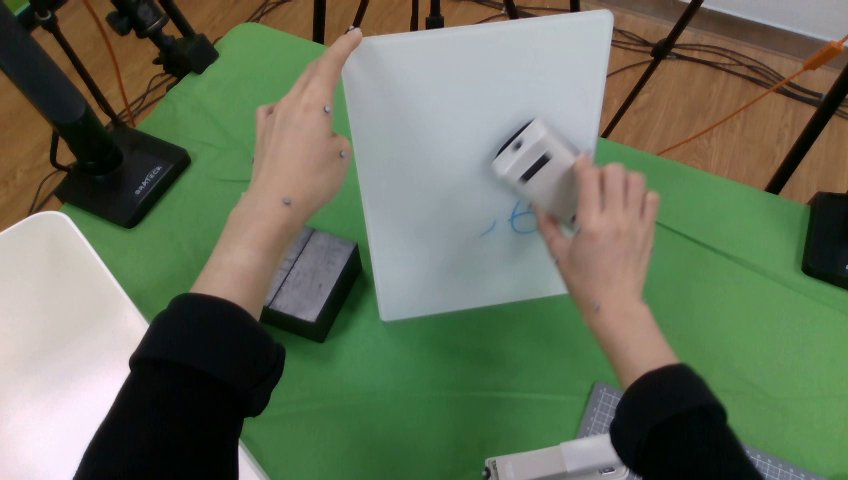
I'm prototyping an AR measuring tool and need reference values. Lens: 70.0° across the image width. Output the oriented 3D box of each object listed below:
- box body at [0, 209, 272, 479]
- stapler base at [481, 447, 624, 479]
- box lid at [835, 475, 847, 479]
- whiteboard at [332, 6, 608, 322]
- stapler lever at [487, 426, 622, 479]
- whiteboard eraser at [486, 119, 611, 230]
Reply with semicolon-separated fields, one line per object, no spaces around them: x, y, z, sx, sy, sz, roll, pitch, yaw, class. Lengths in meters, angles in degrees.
-0.295;0.188;0.484;0.254;0.162;0.361;-39;66;-21;box body
0.119;0.203;0.556;0.130;0.024;0.041;-10;55;-2;stapler base
0.418;0.393;0.451;0.262;0.015;0.369;22;61;12;box lid
0.037;-0.089;0.606;0.217;0.308;0.142;-7;40;-4;whiteboard
0.116;0.190;0.535;0.118;0.040;0.026;-9;55;-2;stapler lever
0.111;-0.057;0.537;0.055;0.114;0.041;-47;33;20;whiteboard eraser
